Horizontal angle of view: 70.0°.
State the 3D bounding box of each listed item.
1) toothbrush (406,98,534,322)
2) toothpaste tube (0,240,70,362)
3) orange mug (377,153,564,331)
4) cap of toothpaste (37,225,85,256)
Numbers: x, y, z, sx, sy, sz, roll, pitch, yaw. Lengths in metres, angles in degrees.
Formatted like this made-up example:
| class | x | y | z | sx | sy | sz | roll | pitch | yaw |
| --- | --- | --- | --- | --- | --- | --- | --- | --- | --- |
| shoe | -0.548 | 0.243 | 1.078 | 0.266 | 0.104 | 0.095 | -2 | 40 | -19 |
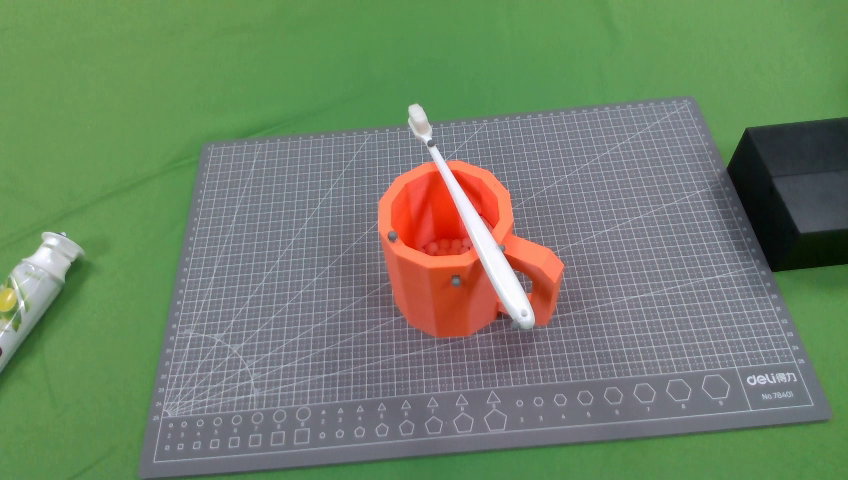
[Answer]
| class | x | y | z | sx | sy | sz | roll | pitch | yaw |
| --- | --- | --- | --- | --- | --- | --- | --- | --- | --- |
| toothbrush | 0.024 | -0.027 | 0.373 | 0.014 | 0.017 | 0.180 | -19 | 57 | -10 |
| toothpaste tube | -0.322 | 0.067 | 0.448 | 0.055 | 0.035 | 0.164 | 13 | 62 | 21 |
| orange mug | 0.031 | 0.009 | 0.411 | 0.125 | 0.102 | 0.083 | 20 | 60 | 22 |
| cap of toothpaste | -0.291 | 0.001 | 0.483 | 0.037 | 0.038 | 0.011 | 8 | 56 | 10 |
